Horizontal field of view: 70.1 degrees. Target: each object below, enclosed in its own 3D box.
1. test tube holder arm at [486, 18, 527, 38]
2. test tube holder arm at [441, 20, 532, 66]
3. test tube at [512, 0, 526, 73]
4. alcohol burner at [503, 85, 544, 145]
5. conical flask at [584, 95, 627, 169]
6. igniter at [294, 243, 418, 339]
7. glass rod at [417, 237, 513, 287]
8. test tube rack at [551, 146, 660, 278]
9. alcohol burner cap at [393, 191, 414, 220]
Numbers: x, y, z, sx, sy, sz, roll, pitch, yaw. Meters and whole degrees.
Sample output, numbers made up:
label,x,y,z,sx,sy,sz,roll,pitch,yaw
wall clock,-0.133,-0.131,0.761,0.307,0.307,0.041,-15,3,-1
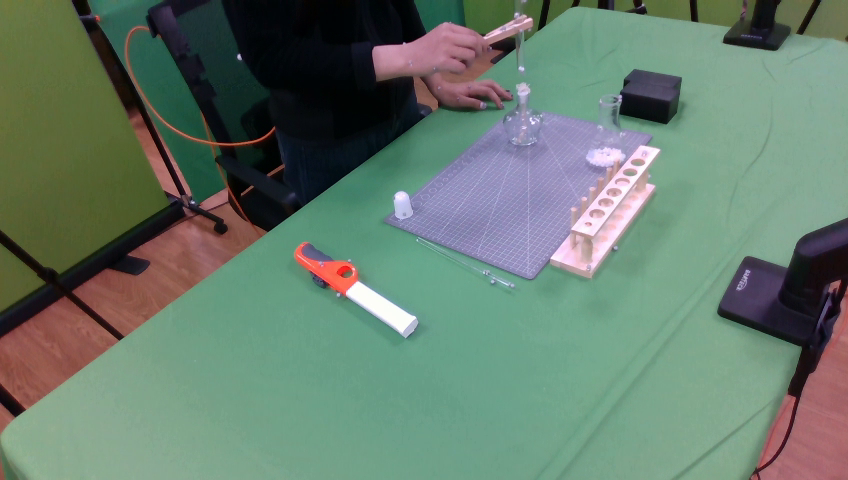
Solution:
label,x,y,z,sx,sy,sz,roll,pitch,yaw
test tube holder arm,0.142,-0.358,1.037,0.088,0.015,0.010,-33,44,-20
test tube holder arm,0.107,-0.334,1.020,0.179,0.015,0.013,-28,42,-15
test tube,0.166,-0.358,1.051,0.017,0.151,0.017,-7,46,7
alcohol burner,0.191,-0.243,1.160,0.078,0.119,0.077,-4,40,4
conical flask,0.324,-0.192,1.066,0.075,0.122,0.075,-6,40,5
igniter,-0.114,0.070,0.919,0.274,0.025,0.057,29,63,37
glass rod,0.059,0.033,0.945,0.198,0.008,0.008,26,52,38
test tube rack,0.286,-0.053,0.944,0.066,0.085,0.243,21,49,32
alcohol burner cap,-0.037,-0.062,1.045,0.034,0.048,0.033,-5,40,5
